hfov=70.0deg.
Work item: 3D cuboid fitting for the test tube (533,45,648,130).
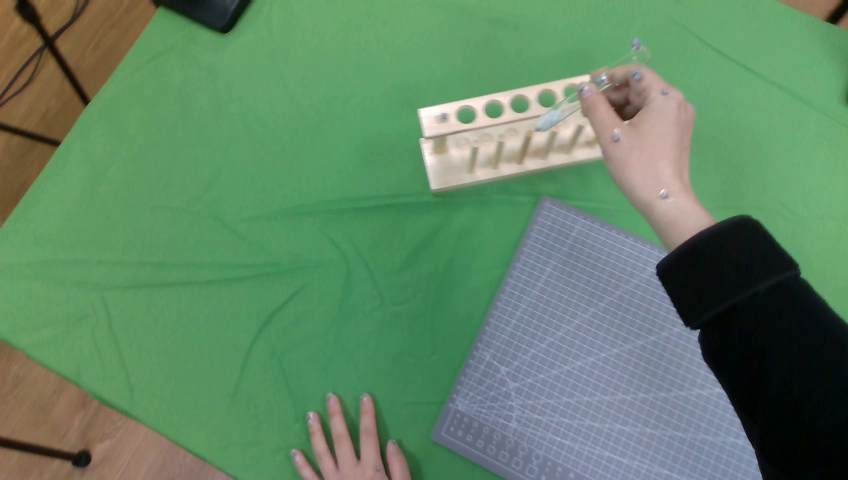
[{"bbox_3d":[0.133,-0.122,0.508,0.017,0.150,0.017,3,79,-19],"label":"test tube"}]

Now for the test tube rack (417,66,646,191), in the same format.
[{"bbox_3d":[0.117,-0.121,0.675,0.242,0.085,0.066,-11,75,-3],"label":"test tube rack"}]
